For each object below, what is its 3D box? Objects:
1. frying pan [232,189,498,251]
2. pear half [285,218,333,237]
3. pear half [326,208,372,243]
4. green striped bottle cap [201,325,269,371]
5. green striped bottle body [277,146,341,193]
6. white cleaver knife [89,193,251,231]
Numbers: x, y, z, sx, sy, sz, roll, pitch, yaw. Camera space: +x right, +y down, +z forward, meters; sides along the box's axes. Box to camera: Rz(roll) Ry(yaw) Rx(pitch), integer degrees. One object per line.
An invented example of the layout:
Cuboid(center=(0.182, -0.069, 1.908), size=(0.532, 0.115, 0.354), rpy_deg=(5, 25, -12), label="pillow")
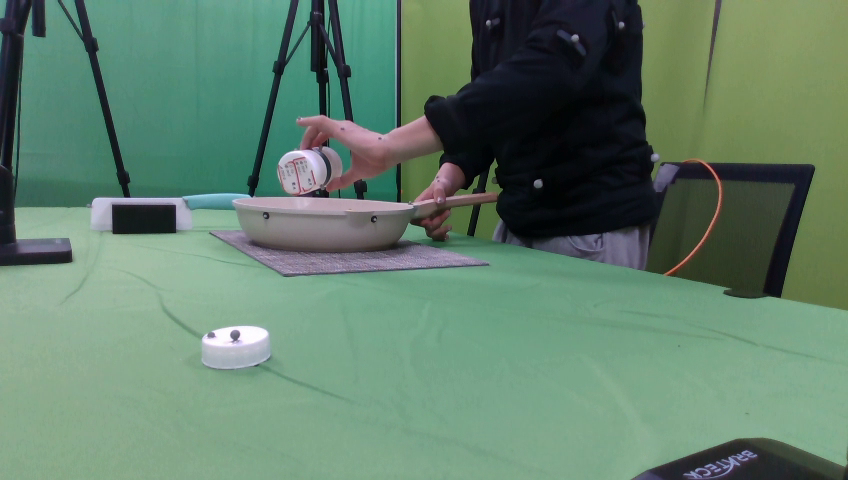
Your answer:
Cuboid(center=(-0.073, -0.051, 1.048), size=(0.490, 0.102, 0.305), rpy_deg=(-11, 13, -27), label="frying pan")
Cuboid(center=(-0.197, -0.022, 1.053), size=(0.088, 0.031, 0.070), rpy_deg=(-9, 18, -44), label="pear half")
Cuboid(center=(-0.128, -0.026, 1.017), size=(0.076, 0.056, 0.109), rpy_deg=(6, 3, -18), label="pear half")
Cuboid(center=(-0.129, 0.073, 0.415), size=(0.044, 0.020, 0.044), rpy_deg=(2, 8, 0), label="green striped bottle cap")
Cuboid(center=(-0.169, -0.110, 0.922), size=(0.063, 0.063, 0.119), rpy_deg=(4, 14, 15), label="green striped bottle body")
Cuboid(center=(-0.454, -0.052, 1.114), size=(0.288, 0.066, 0.021), rpy_deg=(-4, 14, -27), label="white cleaver knife")
